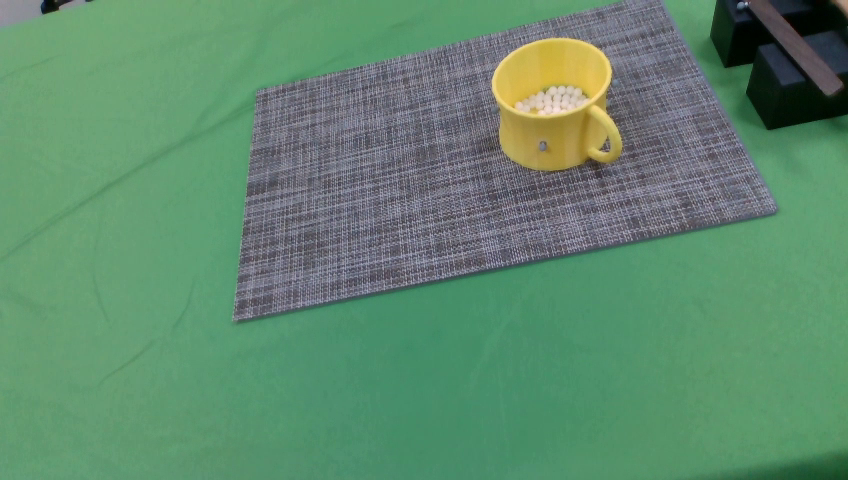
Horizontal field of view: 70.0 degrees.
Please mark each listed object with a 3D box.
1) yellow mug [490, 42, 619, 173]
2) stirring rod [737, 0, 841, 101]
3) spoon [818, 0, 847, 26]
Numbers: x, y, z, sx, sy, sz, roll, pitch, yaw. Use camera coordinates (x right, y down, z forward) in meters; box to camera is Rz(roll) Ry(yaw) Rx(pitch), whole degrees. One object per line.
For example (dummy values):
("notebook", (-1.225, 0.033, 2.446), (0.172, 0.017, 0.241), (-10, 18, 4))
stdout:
("yellow mug", (0.120, -0.109, 0.530), (0.100, 0.064, 0.129), (-37, 56, -12))
("stirring rod", (0.294, -0.177, 0.508), (0.014, 0.006, 0.174), (-41, 45, 33))
("spoon", (0.344, -0.182, 0.496), (0.041, 0.022, 0.191), (-11, 55, 5))
